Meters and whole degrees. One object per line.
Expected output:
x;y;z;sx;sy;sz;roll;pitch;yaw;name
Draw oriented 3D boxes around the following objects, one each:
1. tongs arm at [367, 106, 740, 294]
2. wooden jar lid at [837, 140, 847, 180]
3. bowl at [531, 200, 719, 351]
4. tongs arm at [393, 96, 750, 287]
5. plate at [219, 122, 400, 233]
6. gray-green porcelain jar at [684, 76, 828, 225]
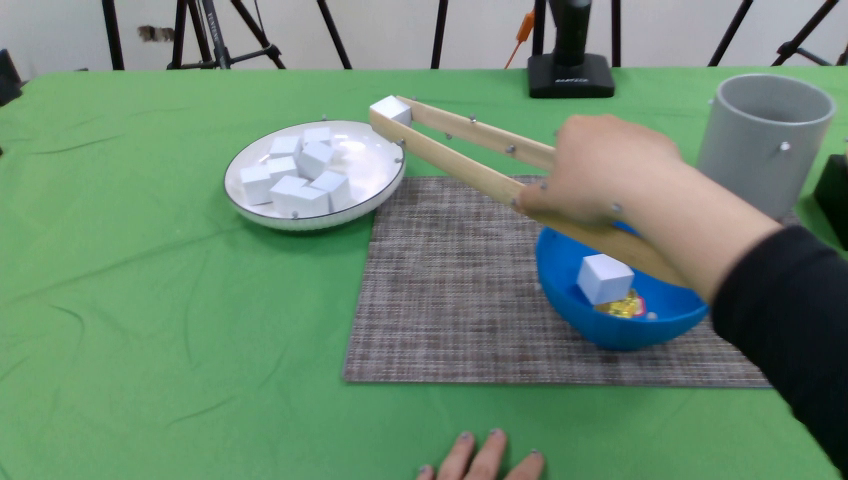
0.060;-0.050;0.485;0.028;0.028;0.383;-26;38;-28;tongs arm
0.471;-0.069;0.602;0.108;0.021;0.107;-3;40;2;wooden jar lid
0.165;0.041;0.519;0.151;0.077;0.150;-2;40;2;bowl
0.079;-0.061;0.494;0.051;0.027;0.381;-32;41;-29;tongs arm
-0.130;-0.072;0.708;0.209;0.038;0.207;-3;40;3;plate
0.332;-0.087;0.622;0.106;0.127;0.105;-2;40;2;gray-green porcelain jar
